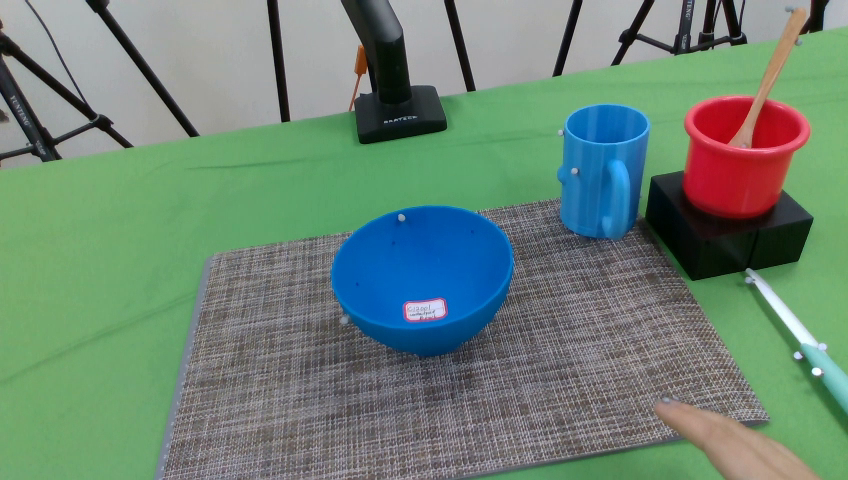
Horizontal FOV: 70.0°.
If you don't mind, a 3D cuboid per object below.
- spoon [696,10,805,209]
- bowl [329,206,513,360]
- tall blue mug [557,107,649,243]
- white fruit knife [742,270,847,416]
[{"bbox_3d":[0.295,-0.116,0.536,0.041,0.022,0.194,25,94,36],"label":"spoon"},{"bbox_3d":[0.001,0.048,0.515,0.151,0.077,0.150,-5,40,4],"label":"bowl"},{"bbox_3d":[0.181,-0.056,0.584,0.078,0.109,0.106,-23,42,-18],"label":"tall blue mug"},{"bbox_3d":[0.304,0.090,0.469,0.027,0.016,0.205,12,34,-18],"label":"white fruit knife"}]
